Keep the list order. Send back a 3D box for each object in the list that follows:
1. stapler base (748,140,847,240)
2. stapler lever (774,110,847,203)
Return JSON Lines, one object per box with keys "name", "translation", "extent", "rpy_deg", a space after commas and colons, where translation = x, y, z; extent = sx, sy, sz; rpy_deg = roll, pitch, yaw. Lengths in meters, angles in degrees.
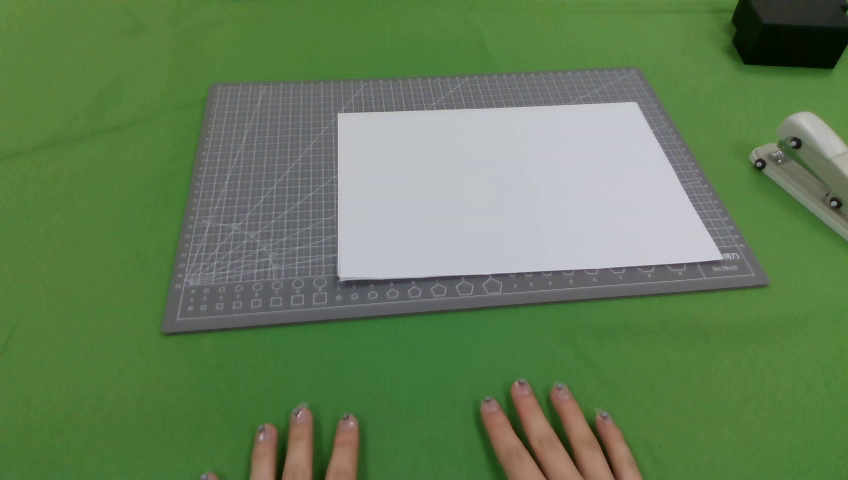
{"name": "stapler base", "translation": [0.344, -0.049, 0.528], "extent": [0.041, 0.024, 0.129], "rpy_deg": [-21, 55, -16]}
{"name": "stapler lever", "translation": [0.346, -0.064, 0.508], "extent": [0.027, 0.040, 0.117], "rpy_deg": [-21, 54, -16]}
